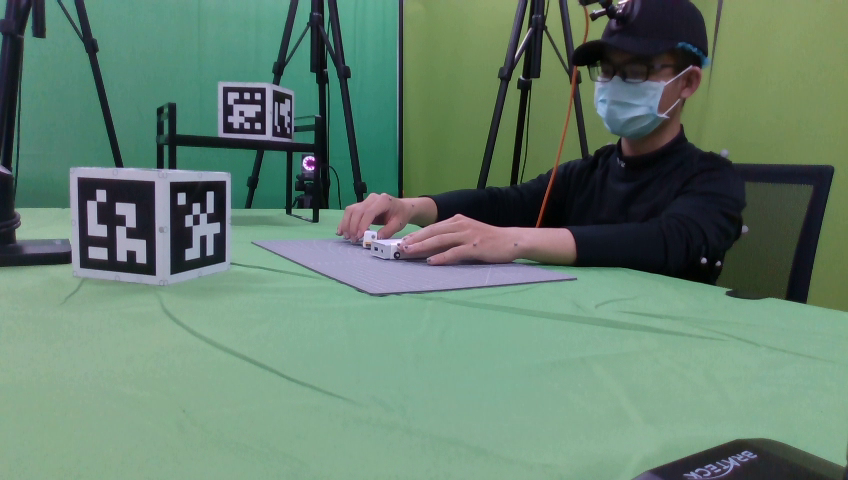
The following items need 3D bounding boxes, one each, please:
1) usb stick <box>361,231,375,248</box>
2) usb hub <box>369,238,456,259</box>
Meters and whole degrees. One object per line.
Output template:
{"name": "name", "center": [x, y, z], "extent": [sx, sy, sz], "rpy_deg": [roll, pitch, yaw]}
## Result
{"name": "usb stick", "center": [-0.091, -0.001, 0.984], "extent": [0.021, 0.027, 0.059], "rpy_deg": [3, 6, -5]}
{"name": "usb hub", "center": [-0.016, 0.012, 0.909], "extent": [0.126, 0.025, 0.049], "rpy_deg": [-2, 9, -32]}
